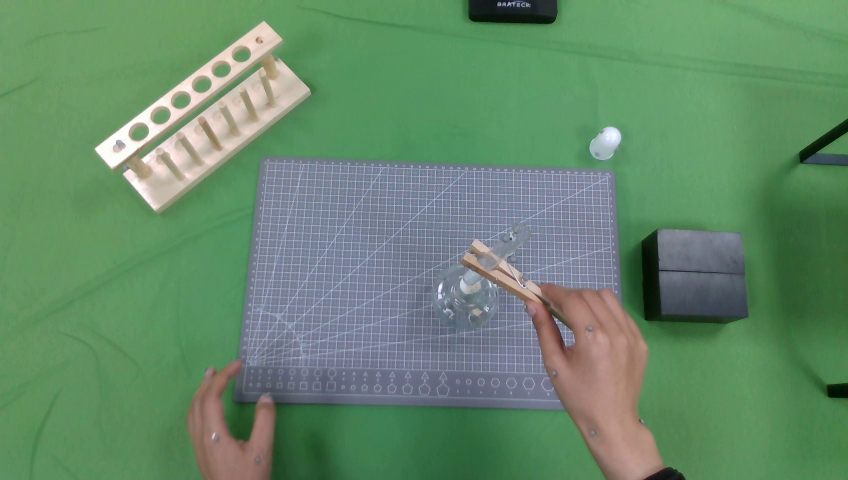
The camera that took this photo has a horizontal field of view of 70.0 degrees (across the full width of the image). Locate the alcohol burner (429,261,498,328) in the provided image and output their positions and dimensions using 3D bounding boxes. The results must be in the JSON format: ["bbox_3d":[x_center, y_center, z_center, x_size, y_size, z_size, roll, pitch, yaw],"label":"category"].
[{"bbox_3d":[0.046,0.057,0.671,0.078,0.119,0.077,1,73,-3],"label":"alcohol burner"}]

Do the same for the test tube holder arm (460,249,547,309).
[{"bbox_3d":[0.072,0.035,0.542,0.088,0.015,0.010,30,72,-1],"label":"test tube holder arm"}]

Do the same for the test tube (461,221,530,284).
[{"bbox_3d":[0.058,0.015,0.528,0.017,0.150,0.017,4,72,-11],"label":"test tube"}]

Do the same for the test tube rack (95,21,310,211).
[{"bbox_3d":[-0.257,-0.148,0.730,0.242,0.085,0.066,-42,79,-12],"label":"test tube rack"}]

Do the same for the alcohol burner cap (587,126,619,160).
[{"bbox_3d":[0.229,-0.125,0.768,0.034,0.048,0.033,1,74,-2],"label":"alcohol burner cap"}]

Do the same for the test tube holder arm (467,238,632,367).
[{"bbox_3d":[0.112,0.056,0.543,0.178,0.015,0.013,36,72,1],"label":"test tube holder arm"}]
